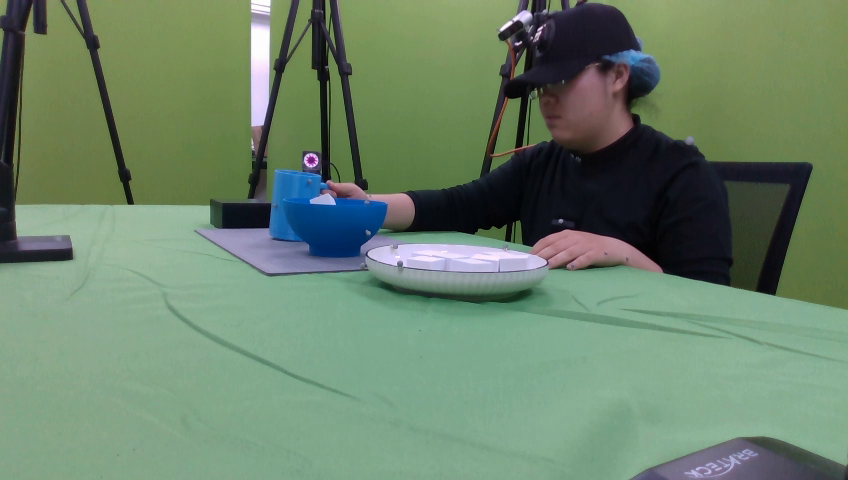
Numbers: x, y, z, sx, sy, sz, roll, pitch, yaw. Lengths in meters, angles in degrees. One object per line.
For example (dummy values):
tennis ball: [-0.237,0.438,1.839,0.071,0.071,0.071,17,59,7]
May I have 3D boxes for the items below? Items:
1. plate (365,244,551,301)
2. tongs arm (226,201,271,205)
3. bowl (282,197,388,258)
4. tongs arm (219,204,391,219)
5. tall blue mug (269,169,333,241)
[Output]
plate: [0.038,0.035,0.685,0.209,0.038,0.209,2,7,0]
tongs arm: [-0.275,-0.072,1.445,0.388,0.027,0.028,2,0,-4]
bowl: [-0.128,-0.018,0.869,0.151,0.077,0.151,2,7,0]
tongs arm: [-0.258,-0.064,1.367,0.386,0.026,0.050,1,4,-17]
tall blue mug: [-0.209,-0.061,1.017,0.077,0.108,0.107,10,10,15]
